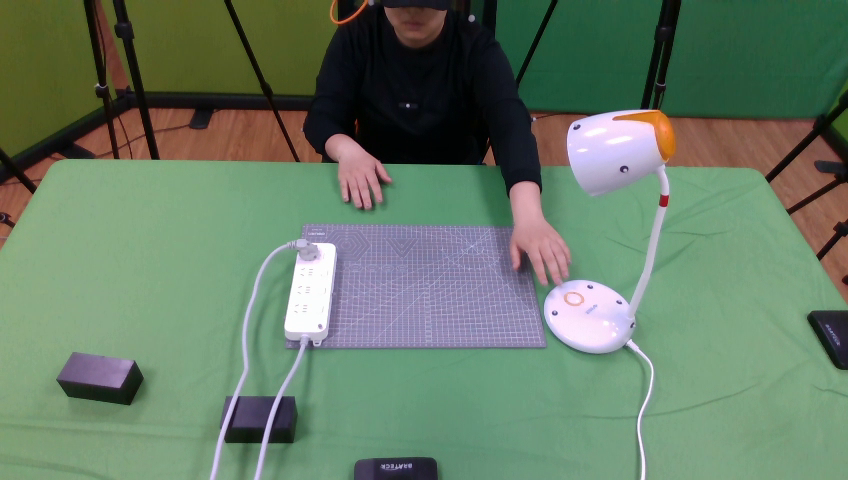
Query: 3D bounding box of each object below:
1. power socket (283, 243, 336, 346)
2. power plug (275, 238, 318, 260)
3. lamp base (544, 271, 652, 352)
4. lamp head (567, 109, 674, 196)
[{"bbox_3d":[-0.202,0.088,1.086,0.072,0.033,0.225,1,46,-2],"label":"power socket"},{"bbox_3d":[-0.232,0.018,1.119,0.072,0.053,0.035,9,46,6],"label":"power plug"},{"bbox_3d":[0.309,0.086,1.029,0.178,0.181,0.160,32,52,21],"label":"lamp base"},{"bbox_3d":[0.272,-0.123,0.818,0.122,0.113,0.112,-9,35,37],"label":"lamp head"}]
